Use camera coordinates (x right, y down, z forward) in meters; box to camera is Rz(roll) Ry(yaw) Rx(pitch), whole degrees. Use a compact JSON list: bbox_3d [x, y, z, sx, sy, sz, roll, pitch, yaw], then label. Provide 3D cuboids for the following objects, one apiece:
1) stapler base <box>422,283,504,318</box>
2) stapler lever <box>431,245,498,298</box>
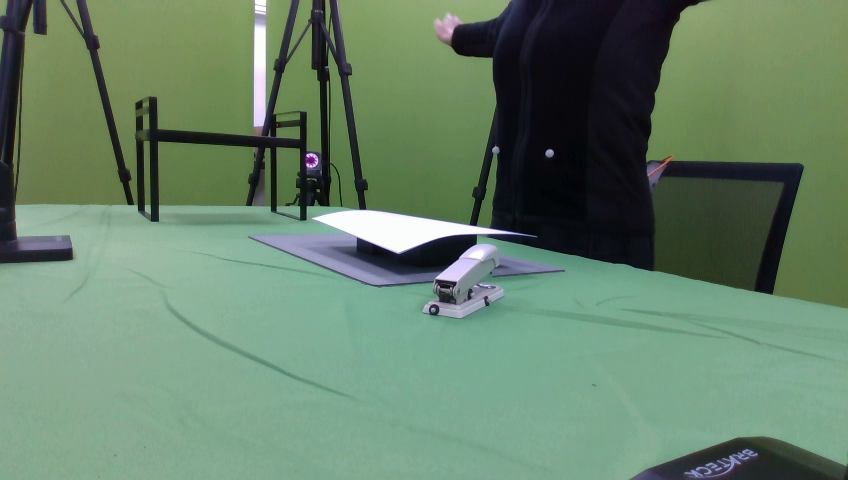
[{"bbox_3d":[0.043,0.053,0.606,0.041,0.024,0.131,2,8,26],"label":"stapler base"},{"bbox_3d":[0.043,0.029,0.602,0.026,0.040,0.118,2,7,26],"label":"stapler lever"}]
